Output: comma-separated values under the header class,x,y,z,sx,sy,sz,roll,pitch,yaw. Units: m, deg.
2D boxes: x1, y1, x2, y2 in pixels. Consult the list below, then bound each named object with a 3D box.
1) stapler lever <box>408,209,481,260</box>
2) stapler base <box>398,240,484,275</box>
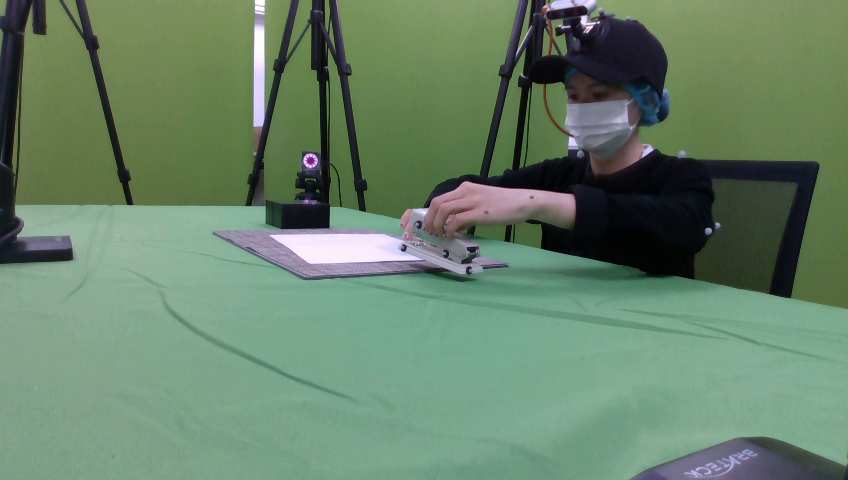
class,x,y,z,sx,sy,sz,roll,pitch,yaw
stapler lever,0.024,-0.009,0.759,0.027,0.040,0.117,-6,20,-41
stapler base,0.019,0.015,0.765,0.041,0.024,0.130,-6,19,-41
